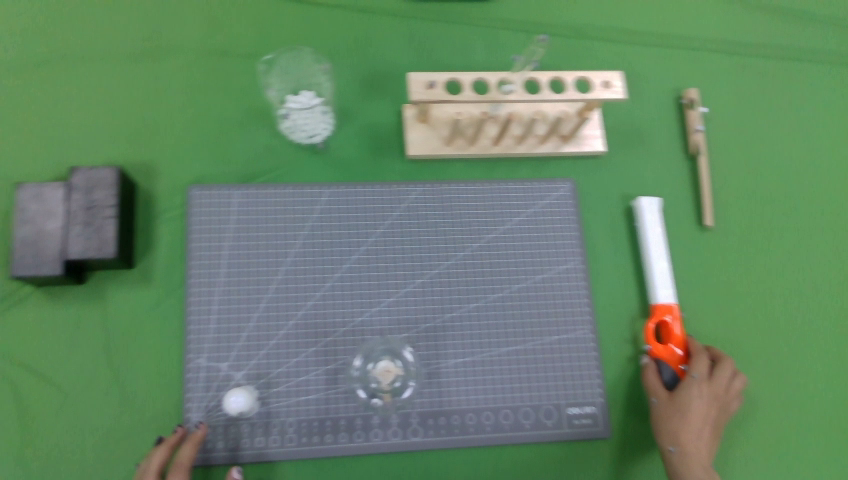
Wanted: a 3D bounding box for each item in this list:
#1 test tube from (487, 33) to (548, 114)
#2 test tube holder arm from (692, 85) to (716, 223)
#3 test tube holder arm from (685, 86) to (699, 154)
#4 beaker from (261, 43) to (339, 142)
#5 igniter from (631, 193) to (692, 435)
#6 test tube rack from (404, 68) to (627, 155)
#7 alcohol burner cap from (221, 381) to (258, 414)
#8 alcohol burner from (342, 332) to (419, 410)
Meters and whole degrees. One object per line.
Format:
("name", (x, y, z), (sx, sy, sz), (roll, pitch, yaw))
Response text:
("test tube", (0.097, -0.175, 0.655), (0.017, 0.150, 0.017), (3, 74, -12))
("test tube holder arm", (0.346, -0.108, 0.752), (0.013, 0.015, 0.177), (-10, 75, 27))
("test tube holder arm", (0.339, -0.151, 0.764), (0.010, 0.015, 0.087), (-8, 76, 28))
("beaker", (-0.134, -0.158, 0.668), (0.084, 0.100, 0.073), (26, 74, 1))
("igniter", (0.272, 0.079, 0.695), (0.057, 0.025, 0.275), (2, 76, -19))
("test tube rack", (0.102, -0.147, 0.701), (0.243, 0.085, 0.066), (-2, 76, -7))
("alcohol burner cap", (-0.187, 0.158, 0.611), (0.034, 0.048, 0.033), (2, 76, -6))
("alcohol burner", (-0.041, 0.128, 0.598), (0.078, 0.119, 0.077), (2, 74, -7))
